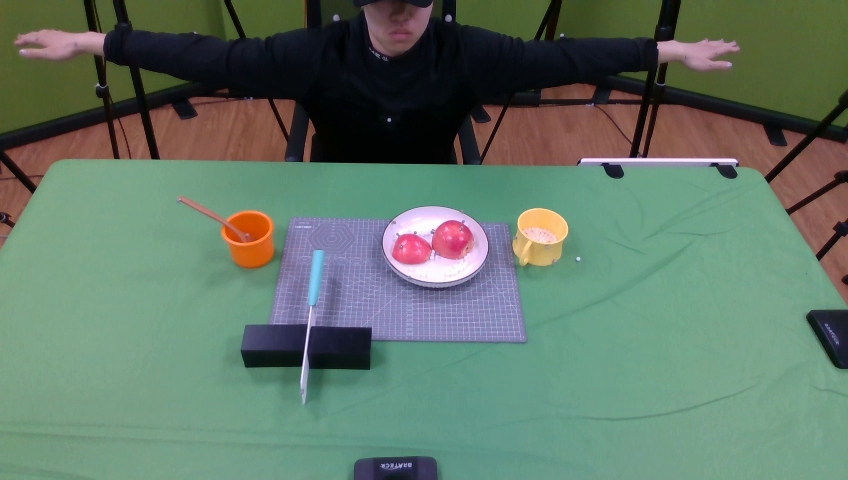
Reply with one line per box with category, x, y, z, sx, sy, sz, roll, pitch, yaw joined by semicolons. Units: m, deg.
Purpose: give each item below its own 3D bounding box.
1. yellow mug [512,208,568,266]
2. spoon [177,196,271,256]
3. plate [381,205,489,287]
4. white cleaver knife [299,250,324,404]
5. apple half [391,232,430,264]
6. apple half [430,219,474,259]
yellow mug;0.219;0.002;1.183;0.099;0.064;0.130;27;51;21
spoon;-0.362;-0.027;1.108;0.021;0.195;0.041;-32;35;28
plate;0.021;0.015;1.170;0.209;0.038;0.208;2;46;-2
white cleaver knife;-0.194;0.134;1.019;0.021;0.066;0.284;5;50;-5
apple half;-0.024;0.009;1.163;0.081;0.033;0.081;2;43;-2
apple half;0.056;-0.007;1.172;0.081;0.053;0.074;-33;59;-31
